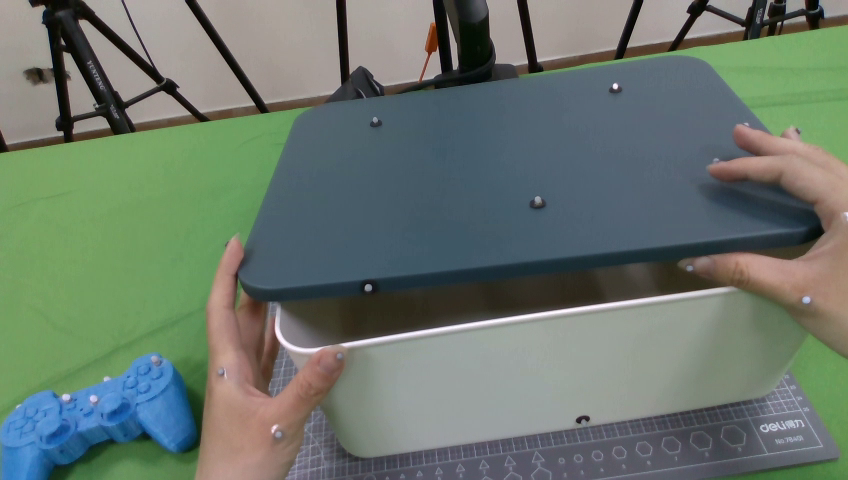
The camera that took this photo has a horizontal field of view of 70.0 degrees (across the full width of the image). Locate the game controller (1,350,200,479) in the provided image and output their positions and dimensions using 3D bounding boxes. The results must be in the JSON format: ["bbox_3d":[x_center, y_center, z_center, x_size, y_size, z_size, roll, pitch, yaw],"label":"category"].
[{"bbox_3d":[-0.273,0.150,0.508,0.155,0.052,0.096,-18,41,-10],"label":"game controller"}]

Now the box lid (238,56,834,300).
[{"bbox_3d":[0.060,-0.062,0.458,0.371,0.015,0.260,-7,37,5],"label":"box lid"}]

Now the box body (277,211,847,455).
[{"bbox_3d":[0.087,0.014,0.499,0.364,0.162,0.251,-9,43,1],"label":"box body"}]
